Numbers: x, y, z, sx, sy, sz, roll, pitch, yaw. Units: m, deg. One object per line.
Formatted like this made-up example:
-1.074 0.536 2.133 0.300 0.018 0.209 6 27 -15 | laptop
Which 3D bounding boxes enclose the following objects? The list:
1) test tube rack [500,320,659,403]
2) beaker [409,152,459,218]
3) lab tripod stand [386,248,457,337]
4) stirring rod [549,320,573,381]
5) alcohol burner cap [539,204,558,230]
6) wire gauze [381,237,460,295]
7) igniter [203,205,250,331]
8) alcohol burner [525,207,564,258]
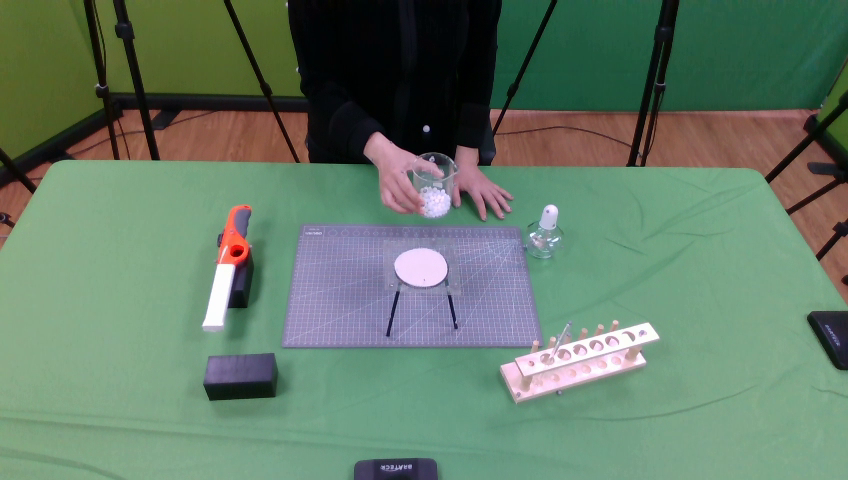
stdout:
0.252 0.187 0.994 0.243 0.085 0.066 -12 48 -15 | test tube rack
0.016 -0.094 1.065 0.084 0.101 0.073 4 49 2 | beaker
-0.010 0.087 1.032 0.148 0.132 0.147 1 45 -1 | lab tripod stand
0.202 0.167 0.901 0.006 0.177 0.014 -17 55 -11 | stirring rod
0.238 -0.045 1.148 0.034 0.048 0.033 2 43 -1 | alcohol burner cap
-0.008 0.040 0.983 0.125 0.011 0.120 1 44 -4 | wire gauze
-0.345 0.039 1.065 0.057 0.025 0.274 3 49 -6 | igniter
0.236 -0.021 1.174 0.078 0.120 0.077 1 48 -1 | alcohol burner
